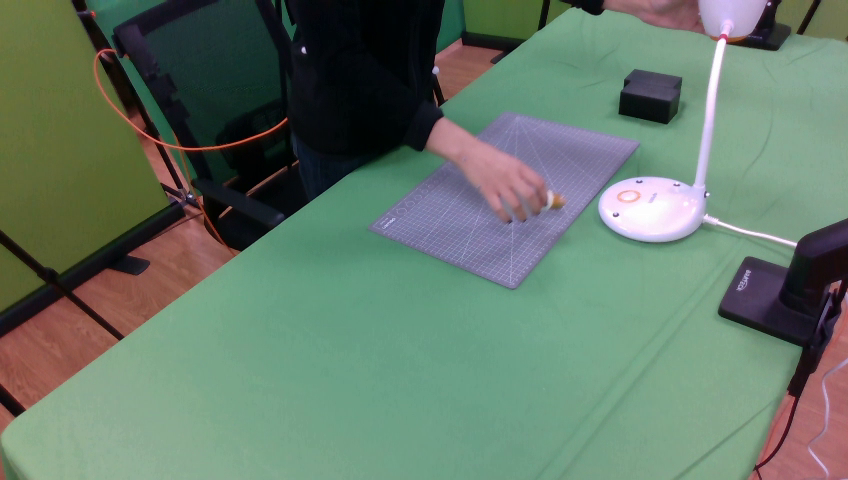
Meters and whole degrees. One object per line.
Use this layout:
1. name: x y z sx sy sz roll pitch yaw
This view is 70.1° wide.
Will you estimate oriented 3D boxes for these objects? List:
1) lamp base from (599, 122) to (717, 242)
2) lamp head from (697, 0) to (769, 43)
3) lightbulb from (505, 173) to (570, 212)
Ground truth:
1. lamp base: 0.367 -0.108 0.919 0.178 0.181 0.160 12 45 20
2. lamp head: 0.469 -0.364 0.919 0.112 0.123 0.112 -7 33 5
3. lightbulb: 0.179 -0.071 0.943 0.108 0.059 0.059 6 37 -18
